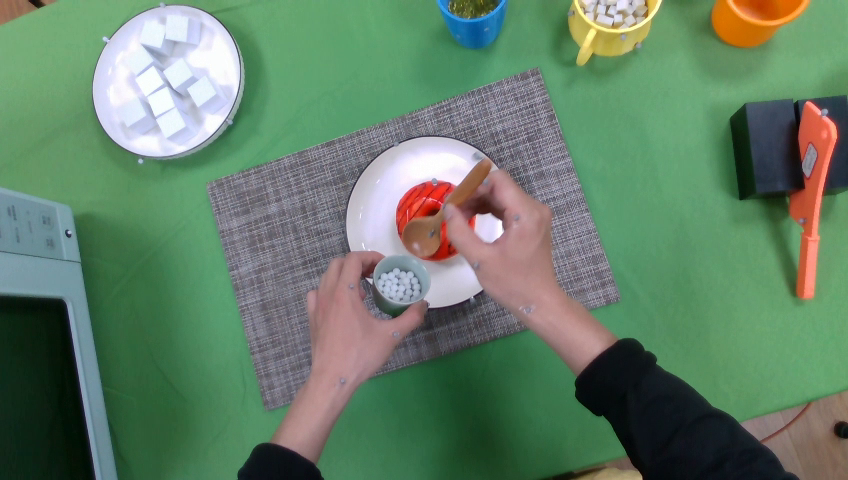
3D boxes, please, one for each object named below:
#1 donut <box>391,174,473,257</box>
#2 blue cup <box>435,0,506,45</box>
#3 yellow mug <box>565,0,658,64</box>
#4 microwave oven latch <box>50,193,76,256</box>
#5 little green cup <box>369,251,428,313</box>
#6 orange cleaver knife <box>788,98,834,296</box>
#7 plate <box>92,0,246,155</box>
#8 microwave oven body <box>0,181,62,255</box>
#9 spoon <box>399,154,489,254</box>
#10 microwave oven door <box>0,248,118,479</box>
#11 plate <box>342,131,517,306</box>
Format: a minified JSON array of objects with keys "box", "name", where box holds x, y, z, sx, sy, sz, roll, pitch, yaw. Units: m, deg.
[{"box":[0.010,-0.029,0.714,0.099,0.048,0.099,-1,85,9],"name":"donut"},{"box":[0.058,-0.279,0.718,0.092,0.100,0.092,-1,85,7],"name":"blue cup"},{"box":[0.212,-0.267,0.713,0.099,0.064,0.131,30,90,9],"name":"yellow mug"},{"box":[-0.471,-0.018,0.775,0.030,0.029,0.079,-13,83,6],"name":"microwave oven latch"},{"box":[-0.029,0.046,0.640,0.062,0.039,0.061,7,54,-9],"name":"little green cup"},{"box":[0.410,-0.043,0.653,0.012,0.077,0.212,-3,113,10],"name":"orange cleaver knife"},{"box":[-0.329,-0.210,0.795,0.207,0.039,0.207,-1,84,8],"name":"plate"},{"box":[-0.584,0.178,0.671,0.326,0.261,0.440,-15,82,5],"name":"microwave oven body"},{"box":[0.016,-0.027,0.545,0.041,0.194,0.021,41,65,-2],"name":"spoon"},{"box":[-0.434,0.181,0.645,0.039,0.245,0.354,-15,81,6],"name":"microwave oven door"},{"box":[0.007,-0.025,0.725,0.209,0.038,0.208,-1,83,7],"name":"plate"}]
